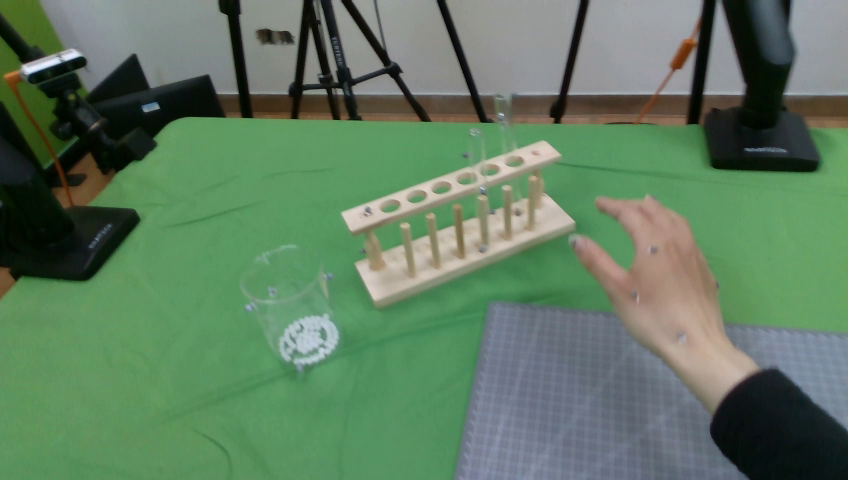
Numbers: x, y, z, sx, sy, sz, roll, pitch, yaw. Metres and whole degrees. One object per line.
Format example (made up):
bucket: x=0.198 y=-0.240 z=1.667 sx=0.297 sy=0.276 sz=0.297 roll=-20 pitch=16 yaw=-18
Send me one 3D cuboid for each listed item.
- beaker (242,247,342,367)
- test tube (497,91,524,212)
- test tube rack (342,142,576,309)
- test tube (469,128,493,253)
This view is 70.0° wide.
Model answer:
beaker: x=-0.123 y=0.065 z=0.577 sx=0.074 sy=0.101 sz=0.083 roll=-31 pitch=45 yaw=-23
test tube: x=0.093 y=-0.089 z=0.646 sx=0.017 sy=0.152 sz=0.017 roll=-8 pitch=42 yaw=8
test tube rack: x=0.043 y=-0.018 z=0.651 sx=0.243 sy=0.086 sz=0.066 roll=-21 pitch=43 yaw=-13
test tube: x=0.058 y=-0.046 z=0.612 sx=0.017 sy=0.152 sz=0.017 roll=-5 pitch=41 yaw=5
